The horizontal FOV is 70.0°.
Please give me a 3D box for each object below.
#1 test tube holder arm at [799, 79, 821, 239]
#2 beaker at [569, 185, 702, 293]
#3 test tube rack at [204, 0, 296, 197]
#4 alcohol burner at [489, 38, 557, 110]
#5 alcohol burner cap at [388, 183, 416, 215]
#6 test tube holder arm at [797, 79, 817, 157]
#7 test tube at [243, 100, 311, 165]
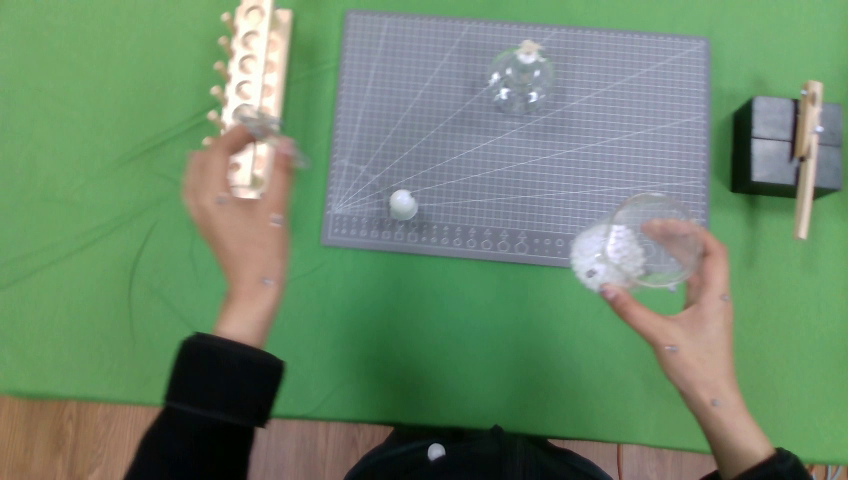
[{"bbox_3d":[0.424,-0.090,0.666,0.013,0.015,0.178,6,83,3],"label":"test tube holder arm"},{"bbox_3d":[0.166,0.006,0.503,0.084,0.100,0.073,-18,81,-9],"label":"beaker"},{"bbox_3d":[-0.203,-0.179,0.694,0.067,0.085,0.241,5,82,2],"label":"test tube rack"},{"bbox_3d":[0.112,-0.193,0.678,0.078,0.119,0.077,0,82,2],"label":"alcohol burner"},{"bbox_3d":[-0.026,-0.049,0.693,0.034,0.048,0.033,0,81,-1],"label":"alcohol burner cap"},{"bbox_3d":[0.424,-0.135,0.671,0.010,0.015,0.087,8,83,4],"label":"test tube holder arm"},{"bbox_3d":[-0.118,-0.085,0.503,0.017,0.150,0.017,0,84,3],"label":"test tube"}]
